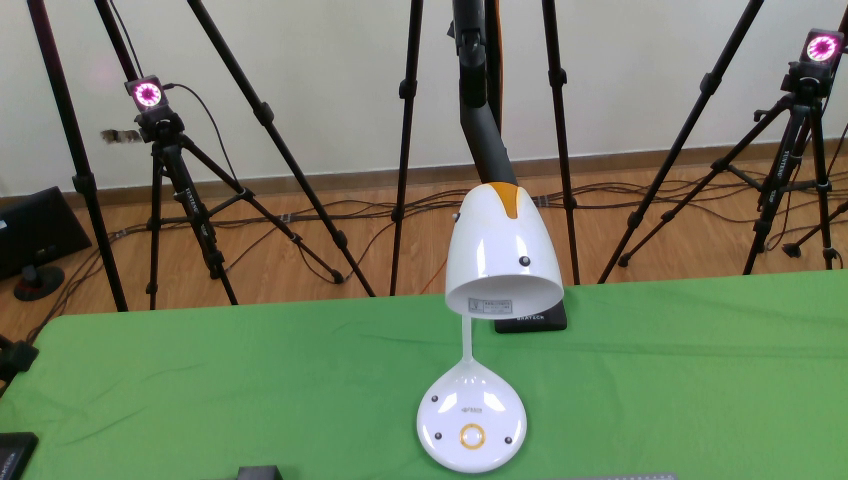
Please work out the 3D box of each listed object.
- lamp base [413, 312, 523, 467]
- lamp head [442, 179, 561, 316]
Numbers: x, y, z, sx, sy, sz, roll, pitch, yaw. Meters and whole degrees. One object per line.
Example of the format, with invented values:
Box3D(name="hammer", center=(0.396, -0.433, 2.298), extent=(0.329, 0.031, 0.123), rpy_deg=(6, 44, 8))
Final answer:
Box3D(name="lamp base", center=(0.057, 0.192, 0.842), extent=(0.161, 0.182, 0.177), rpy_deg=(-7, 40, -2))
Box3D(name="lamp head", center=(0.070, 0.005, 0.593), extent=(0.112, 0.113, 0.121), rpy_deg=(-4, 58, 1))
